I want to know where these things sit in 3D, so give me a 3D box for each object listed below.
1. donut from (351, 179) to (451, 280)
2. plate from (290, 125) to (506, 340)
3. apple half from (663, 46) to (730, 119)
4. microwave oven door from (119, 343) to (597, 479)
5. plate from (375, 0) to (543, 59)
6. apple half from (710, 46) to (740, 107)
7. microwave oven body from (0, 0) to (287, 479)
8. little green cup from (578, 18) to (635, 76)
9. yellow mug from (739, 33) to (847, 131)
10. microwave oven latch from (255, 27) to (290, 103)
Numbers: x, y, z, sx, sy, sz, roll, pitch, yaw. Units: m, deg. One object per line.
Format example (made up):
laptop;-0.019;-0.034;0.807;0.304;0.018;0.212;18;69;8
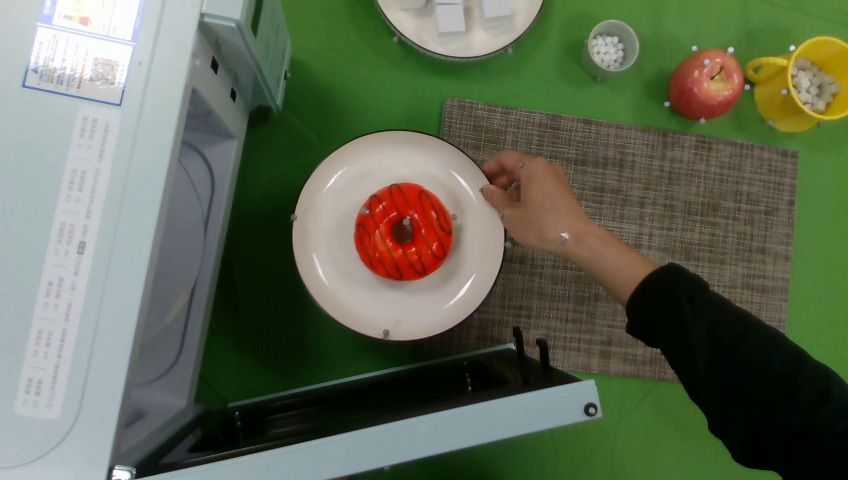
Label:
donut;-0.022;-0.010;0.586;0.099;0.048;0.099;0;92;-5
plate;-0.025;-0.007;0.597;0.209;0.038;0.209;0;89;-5
apple half;0.312;-0.180;0.713;0.053;0.074;0.081;-19;93;-3
microwave oven door;-0.055;0.156;0.549;0.356;0.244;0.039;-10;87;-7
plate;0.038;-0.308;0.703;0.208;0.039;0.207;0;87;-7
apple half;0.348;-0.193;0.717;0.033;0.081;0.081;-20;89;-3
microwave oven body;-0.328;-0.048;0.531;0.327;0.260;0.441;10;87;-7
little green cup;0.214;-0.226;0.720;0.061;0.038;0.061;0;87;-6
yellow mug;0.447;-0.194;0.733;0.131;0.064;0.100;18;84;-5
microwave oven latch;-0.165;-0.191;0.654;0.030;0.029;0.079;13;86;-6
